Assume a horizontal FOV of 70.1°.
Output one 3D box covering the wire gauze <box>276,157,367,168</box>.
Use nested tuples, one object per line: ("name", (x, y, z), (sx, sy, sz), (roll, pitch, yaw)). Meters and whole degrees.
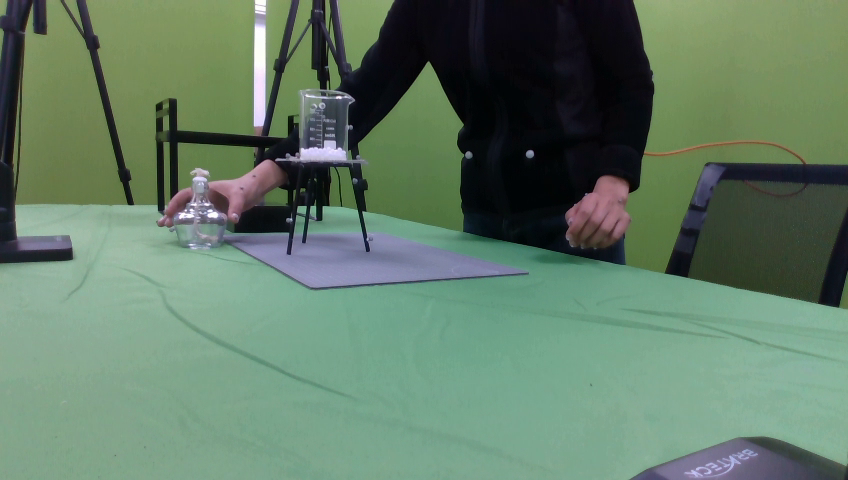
("wire gauze", (-0.148, -0.117, 0.895), (0.121, 0.011, 0.125), (3, 5, -3))

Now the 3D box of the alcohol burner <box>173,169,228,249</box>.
("alcohol burner", (-0.333, -0.047, 0.903), (0.078, 0.119, 0.078), (1, 5, 0))

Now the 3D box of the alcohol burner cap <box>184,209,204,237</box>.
("alcohol burner cap", (-0.390, -0.029, 1.025), (0.034, 0.048, 0.034), (3, 8, 0))

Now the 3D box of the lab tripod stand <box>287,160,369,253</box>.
("lab tripod stand", (-0.157, -0.053, 0.901), (0.148, 0.131, 0.148), (0, 7, 0))

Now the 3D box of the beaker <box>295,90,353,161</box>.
("beaker", (-0.146, -0.164, 0.884), (0.084, 0.100, 0.074), (1, 7, -6))
